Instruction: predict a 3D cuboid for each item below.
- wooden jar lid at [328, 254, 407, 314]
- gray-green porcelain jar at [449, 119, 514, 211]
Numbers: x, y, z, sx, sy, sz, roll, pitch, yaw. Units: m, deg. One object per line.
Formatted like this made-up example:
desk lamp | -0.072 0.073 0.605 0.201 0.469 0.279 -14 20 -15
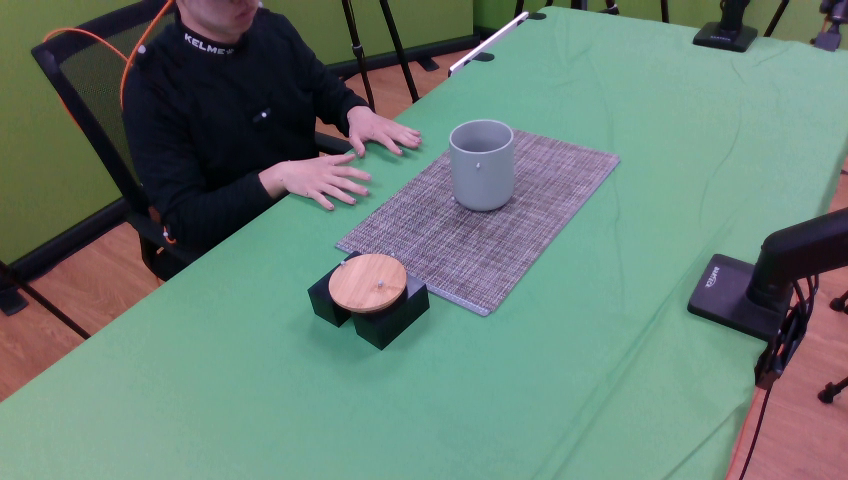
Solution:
wooden jar lid | -0.077 0.062 0.832 0.108 0.021 0.108 -4 39 4
gray-green porcelain jar | 0.098 -0.120 1.008 0.106 0.127 0.105 -4 41 4
